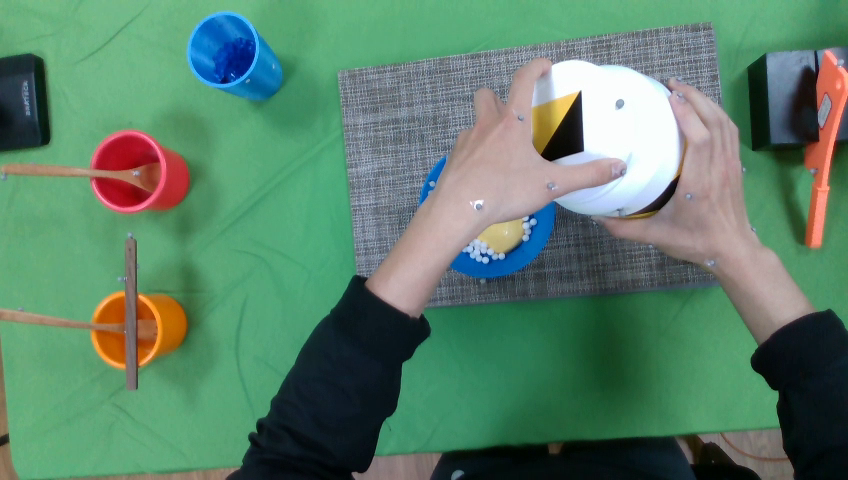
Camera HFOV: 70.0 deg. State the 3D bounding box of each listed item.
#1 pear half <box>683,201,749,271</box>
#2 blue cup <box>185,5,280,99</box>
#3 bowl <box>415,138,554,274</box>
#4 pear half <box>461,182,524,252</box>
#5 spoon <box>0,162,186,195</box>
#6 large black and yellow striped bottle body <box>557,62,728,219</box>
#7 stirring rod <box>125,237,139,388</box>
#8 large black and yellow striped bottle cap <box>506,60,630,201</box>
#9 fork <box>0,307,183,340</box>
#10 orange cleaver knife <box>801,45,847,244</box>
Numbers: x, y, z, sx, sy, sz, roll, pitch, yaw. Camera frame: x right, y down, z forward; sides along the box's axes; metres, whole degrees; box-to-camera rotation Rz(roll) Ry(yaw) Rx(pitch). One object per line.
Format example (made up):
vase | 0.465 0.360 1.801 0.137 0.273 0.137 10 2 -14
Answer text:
pear half | 0.315 -0.001 0.652 0.056 0.110 0.076 -25 82 6
blue cup | -0.218 -0.210 0.721 0.092 0.100 0.092 0 89 8
bowl | 0.070 -0.036 0.695 0.151 0.077 0.151 0 89 7
pear half | 0.075 -0.030 0.689 0.070 0.031 0.087 -32 82 3
spoon | -0.385 -0.079 0.717 0.195 0.021 0.041 1 91 -37
large black and yellow striped bottle body | 0.184 -0.089 0.565 0.130 0.185 0.130 -2 87 48
stirring rod | -0.340 0.084 0.705 0.014 0.006 0.176 -1 90 4
large black and yellow striped bottle cap | 0.116 -0.091 0.506 0.114 0.019 0.115 -3 87 48
fork | -0.391 0.097 0.712 0.209 0.018 0.028 14 100 -37
orange cleaver knife | 0.427 -0.099 0.658 0.012 0.076 0.213 -4 117 12
